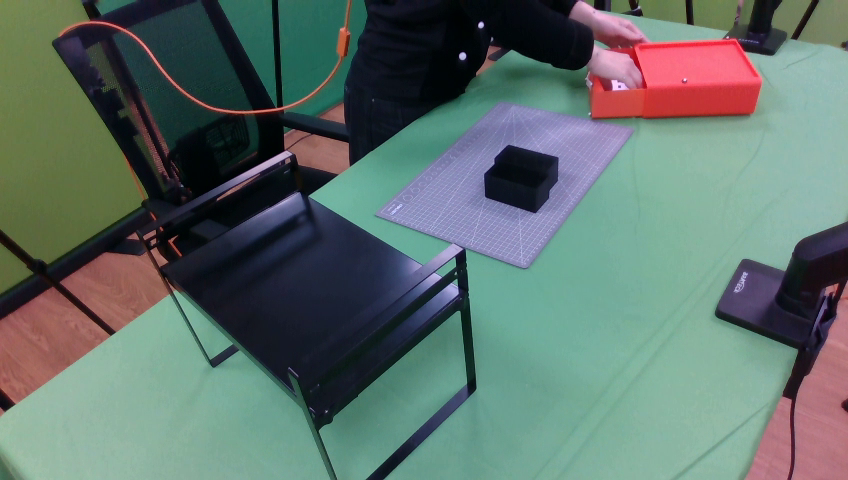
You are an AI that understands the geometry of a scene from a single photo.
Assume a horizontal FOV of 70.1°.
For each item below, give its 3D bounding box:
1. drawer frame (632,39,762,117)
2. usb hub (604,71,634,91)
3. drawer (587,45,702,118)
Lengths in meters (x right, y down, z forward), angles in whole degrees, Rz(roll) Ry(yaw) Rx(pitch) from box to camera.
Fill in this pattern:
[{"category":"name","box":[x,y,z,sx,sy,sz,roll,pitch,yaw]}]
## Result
[{"category":"drawer frame","box":[0.540,-0.332,1.234,0.213,0.083,0.201,0,41,7]},{"category":"usb hub","box":[0.407,-0.320,1.263,0.049,0.025,0.125,9,37,20]},{"category":"drawer","box":[0.445,-0.332,1.247,0.211,0.073,0.194,1,41,11]}]
